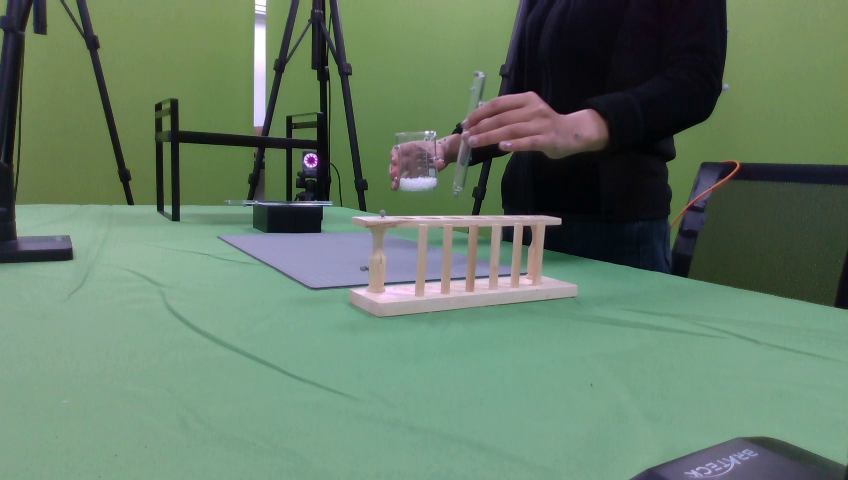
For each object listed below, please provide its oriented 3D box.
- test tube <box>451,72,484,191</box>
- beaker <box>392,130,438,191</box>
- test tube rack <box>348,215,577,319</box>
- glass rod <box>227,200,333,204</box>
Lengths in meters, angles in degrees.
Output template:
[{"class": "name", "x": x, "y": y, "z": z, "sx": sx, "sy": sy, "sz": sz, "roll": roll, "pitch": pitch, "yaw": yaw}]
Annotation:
[{"class": "test tube", "x": 0.055, "y": -0.135, "z": 0.759, "sx": 0.017, "sy": 0.150, "sz": 0.017, "roll": 11, "pitch": 1, "yaw": 0}, {"class": "beaker", "x": -0.011, "y": -0.138, "z": 1.045, "sx": 0.083, "sy": 0.100, "sz": 0.074, "roll": 6, "pitch": 15, "yaw": 39}, {"class": "test tube rack", "x": 0.048, "y": 0.021, "z": 0.619, "sx": 0.244, "sy": 0.085, "sz": 0.066, "roll": -2, "pitch": 8, "yaw": -31}, {"class": "glass rod", "x": -0.268, "y": -0.071, "z": 1.143, "sx": 0.201, "sy": 0.008, "sz": 0.008, "roll": -1, "pitch": 8, "yaw": -29}]
